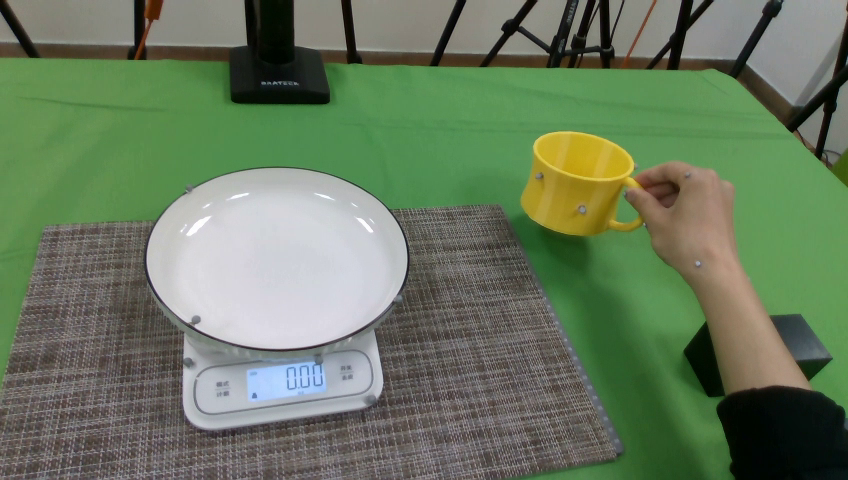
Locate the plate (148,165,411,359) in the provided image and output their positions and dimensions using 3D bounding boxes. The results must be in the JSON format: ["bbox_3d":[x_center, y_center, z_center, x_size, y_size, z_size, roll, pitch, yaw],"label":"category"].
[{"bbox_3d":[-0.116,0.015,0.507,0.209,0.038,0.207,7,45,-6],"label":"plate"}]

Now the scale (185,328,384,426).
[{"bbox_3d":[-0.120,0.055,0.513,0.149,0.032,0.198,-3,47,-15],"label":"scale"}]

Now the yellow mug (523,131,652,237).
[{"bbox_3d":[0.167,-0.052,0.607,0.130,0.064,0.100,32,43,27],"label":"yellow mug"}]
